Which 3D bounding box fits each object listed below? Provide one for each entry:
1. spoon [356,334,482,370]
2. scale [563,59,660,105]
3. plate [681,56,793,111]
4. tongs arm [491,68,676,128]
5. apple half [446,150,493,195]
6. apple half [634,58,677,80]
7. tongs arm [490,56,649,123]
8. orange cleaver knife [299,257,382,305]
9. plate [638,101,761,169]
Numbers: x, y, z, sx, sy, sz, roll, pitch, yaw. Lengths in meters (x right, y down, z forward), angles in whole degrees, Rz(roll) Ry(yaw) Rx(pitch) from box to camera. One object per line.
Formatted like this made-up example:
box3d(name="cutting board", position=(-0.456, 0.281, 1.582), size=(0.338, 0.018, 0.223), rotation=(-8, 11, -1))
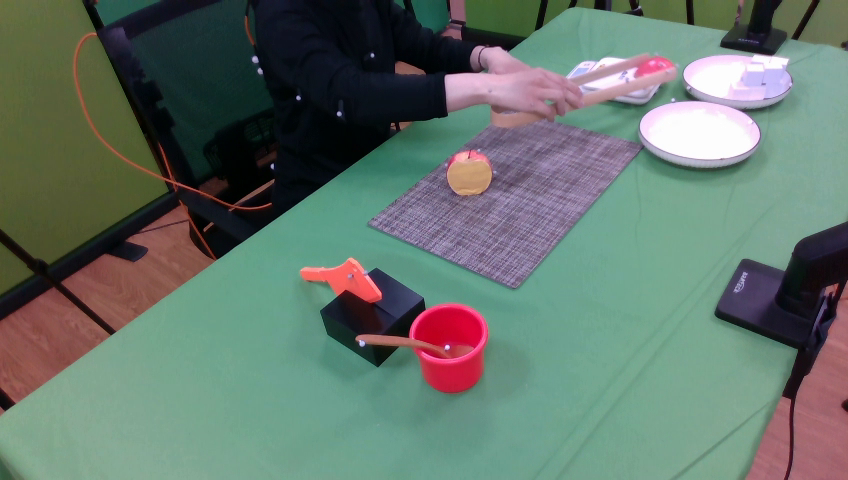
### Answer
box3d(name="spoon", position=(-0.001, 0.130, 0.731), size=(0.195, 0.021, 0.041), rotation=(22, 28, -39))
box3d(name="scale", position=(0.406, -0.348, 1.314), size=(0.199, 0.032, 0.149), rotation=(19, 47, 28))
box3d(name="plate", position=(0.636, -0.317, 1.239), size=(0.207, 0.039, 0.206), rotation=(-4, 40, 4))
box3d(name="tongs arm", position=(0.303, -0.270, 1.127), size=(0.386, 0.026, 0.050), rotation=(-20, 42, -18))
box3d(name="apple half", position=(0.080, -0.123, 1.065), size=(0.081, 0.075, 0.053), rotation=(-7, 36, 7))
box3d(name="apple half", position=(0.455, -0.337, 1.191), size=(0.081, 0.033, 0.081), rotation=(-7, 43, 7))
box3d(name="tongs arm", position=(0.284, -0.294, 1.159), size=(0.389, 0.028, 0.028), rotation=(-21, 46, -19))
box3d(name="orange cleaver knife", position=(-0.124, 0.062, 0.872), size=(0.012, 0.077, 0.210), rotation=(-38, 17, -30))
box3d(name="plate", position=(0.500, -0.189, 1.111), size=(0.209, 0.038, 0.208), rotation=(-4, 41, 4))
